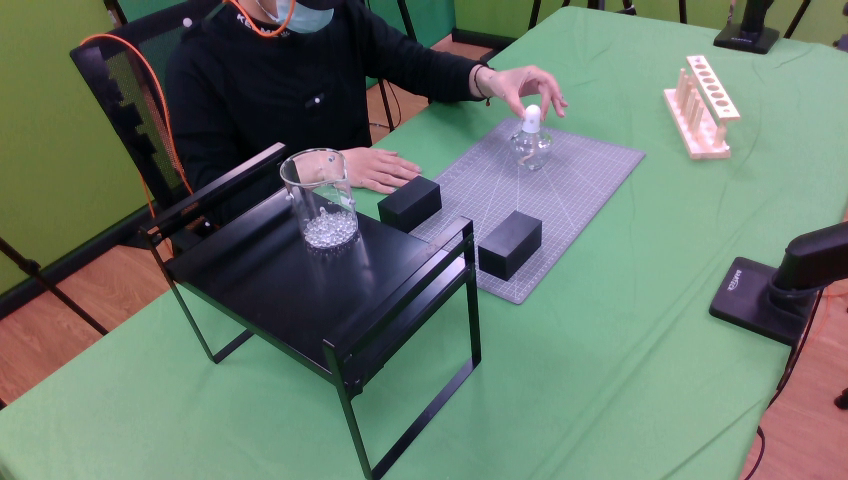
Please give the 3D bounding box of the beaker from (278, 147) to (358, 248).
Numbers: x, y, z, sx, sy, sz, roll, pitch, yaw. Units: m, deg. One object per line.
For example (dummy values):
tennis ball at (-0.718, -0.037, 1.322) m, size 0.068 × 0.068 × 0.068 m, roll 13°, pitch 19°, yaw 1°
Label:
beaker at (-0.117, -0.046, 0.705) m, size 0.083 × 0.101 × 0.074 m, roll 17°, pitch 47°, yaw 25°

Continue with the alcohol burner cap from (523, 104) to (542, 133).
alcohol burner cap at (0.192, -0.217, 1.065) m, size 0.034 × 0.048 × 0.033 m, roll -3°, pitch 39°, yaw 3°

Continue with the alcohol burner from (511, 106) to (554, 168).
alcohol burner at (0.195, -0.190, 1.089) m, size 0.078 × 0.119 × 0.077 m, roll -3°, pitch 42°, yaw 3°

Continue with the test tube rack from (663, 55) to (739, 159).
test tube rack at (0.518, -0.256, 1.144) m, size 0.066 × 0.085 × 0.241 m, roll -1°, pitch 41°, yaw 8°
